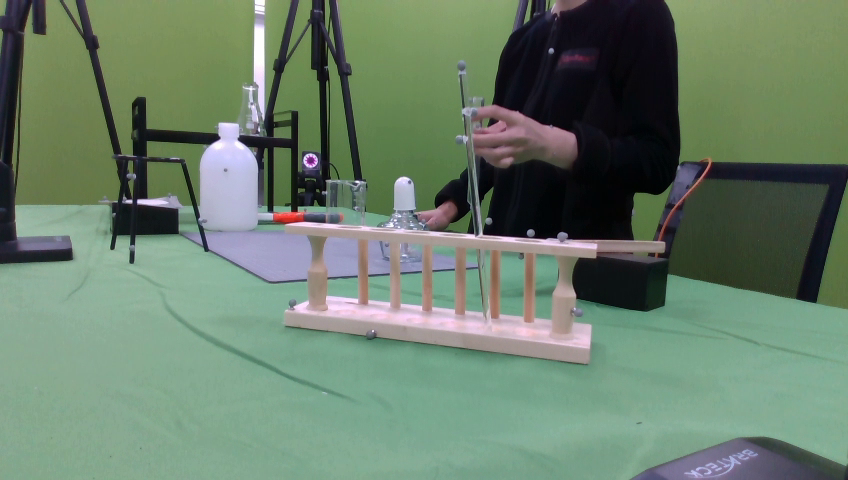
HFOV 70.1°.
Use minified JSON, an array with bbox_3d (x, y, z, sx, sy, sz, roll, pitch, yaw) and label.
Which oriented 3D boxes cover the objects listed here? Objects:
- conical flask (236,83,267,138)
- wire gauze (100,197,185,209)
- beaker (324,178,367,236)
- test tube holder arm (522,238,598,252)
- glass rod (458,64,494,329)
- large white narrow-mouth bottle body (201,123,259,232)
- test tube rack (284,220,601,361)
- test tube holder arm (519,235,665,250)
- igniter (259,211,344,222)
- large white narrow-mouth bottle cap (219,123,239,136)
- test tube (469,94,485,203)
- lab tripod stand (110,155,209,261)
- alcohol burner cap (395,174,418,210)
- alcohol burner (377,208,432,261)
[{"bbox_3d":[-0.400,-0.298,1.396,0.075,0.122,0.075,2,8,0],"label":"conical flask"},{"bbox_3d":[-0.469,-0.062,1.008,0.126,0.011,0.121,-2,8,-25],"label":"wire gauze"},{"bbox_3d":[-0.139,-0.060,1.083,0.074,0.100,0.083,-3,10,-31],"label":"beaker"},{"bbox_3d":[0.144,0.005,0.636,0.088,0.015,0.010,-1,18,-19],"label":"test tube holder arm"},{"bbox_3d":[0.040,-0.029,0.449,0.008,0.199,0.008,-7,9,1],"label":"glass rod"},{"bbox_3d":[-0.358,-0.116,1.116,0.102,0.194,0.102,2,8,0],"label":"large white narrow-mouth bottle body"},{"bbox_3d":[0.013,0.032,0.482,0.242,0.085,0.067,4,7,16],"label":"test tube rack"},{"bbox_3d":[0.185,0.002,0.656,0.179,0.015,0.013,-1,18,-20],"label":"test tube holder arm"},{"bbox_3d":[-0.302,-0.048,1.249,0.278,0.025,0.057,-2,-2,-27],"label":"igniter"},{"bbox_3d":[-0.356,-0.201,1.105,0.038,0.024,0.037,2,8,0],"label":"large white narrow-mouth bottle cap"},{"bbox_3d":[0.074,-0.127,0.844,0.017,0.150,0.017,2,12,0],"label":"test tube"},{"bbox_3d":[-0.361,-0.046,0.806,0.148,0.131,0.148,2,5,0],"label":"lab tripod stand"},{"bbox_3d":[-0.026,-0.067,0.833,0.034,0.048,0.034,-2,12,1],"label":"alcohol burner cap"},{"bbox_3d":[-0.027,-0.031,0.838,0.078,0.119,0.078,0,6,0],"label":"alcohol burner"}]
